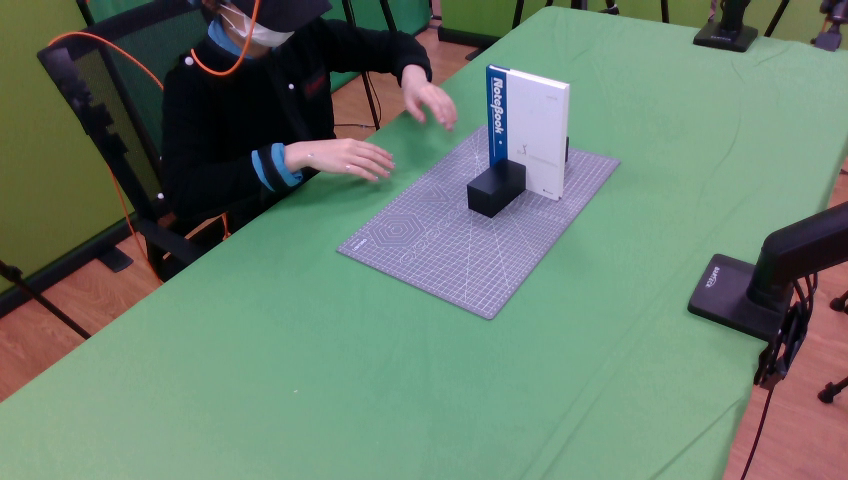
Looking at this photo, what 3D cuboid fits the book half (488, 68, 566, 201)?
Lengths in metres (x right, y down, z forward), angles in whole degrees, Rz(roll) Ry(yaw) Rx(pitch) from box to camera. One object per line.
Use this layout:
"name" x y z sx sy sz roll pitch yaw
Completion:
"book half" 0.167 -0.171 0.995 0.142 0.211 0.007 27 52 34

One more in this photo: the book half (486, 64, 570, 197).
"book half" 0.170 -0.176 1.000 0.147 0.211 0.016 26 51 33
